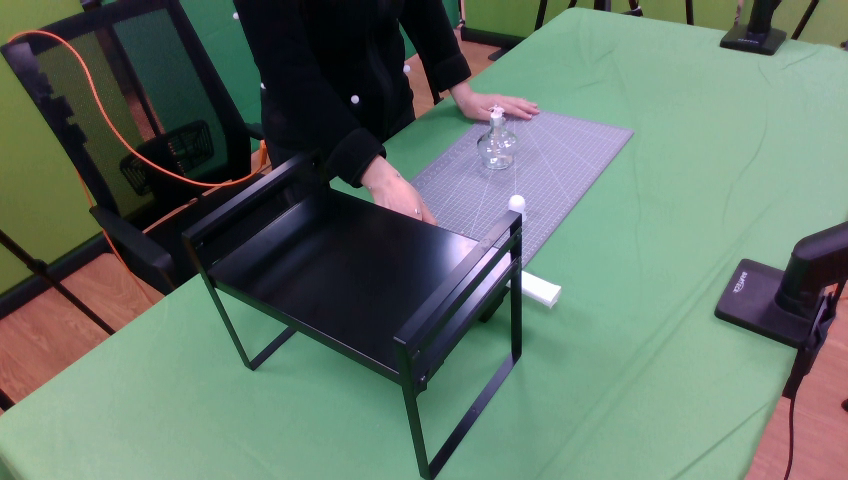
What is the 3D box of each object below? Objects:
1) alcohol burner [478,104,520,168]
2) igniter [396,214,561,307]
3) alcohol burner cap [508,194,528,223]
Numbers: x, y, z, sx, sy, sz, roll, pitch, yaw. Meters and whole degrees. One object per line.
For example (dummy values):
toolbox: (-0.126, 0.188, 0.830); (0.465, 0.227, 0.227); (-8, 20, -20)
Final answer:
alcohol burner: (0.137, -0.193, 1.106); (0.078, 0.119, 0.077); (-5, 39, 4)
igniter: (0.066, 0.023, 0.862); (0.274, 0.025, 0.057); (26, 54, 29)
alcohol burner cap: (0.155, -0.053, 0.996); (0.034, 0.048, 0.033); (-4, 40, 4)
